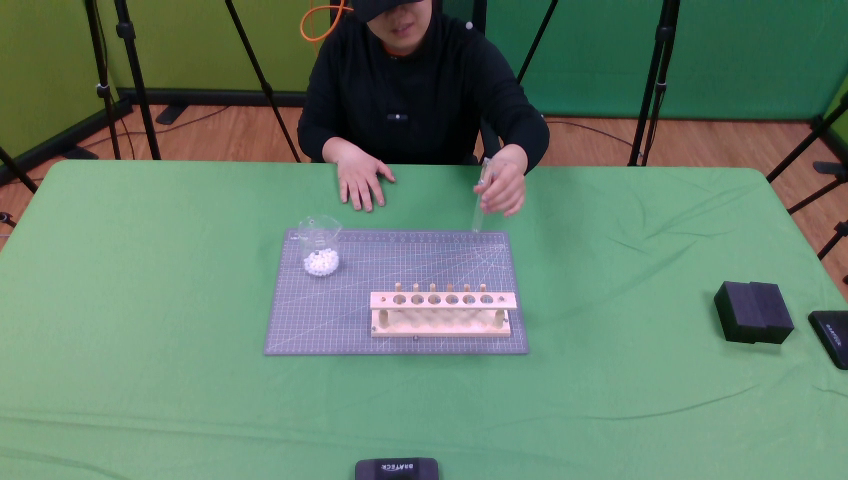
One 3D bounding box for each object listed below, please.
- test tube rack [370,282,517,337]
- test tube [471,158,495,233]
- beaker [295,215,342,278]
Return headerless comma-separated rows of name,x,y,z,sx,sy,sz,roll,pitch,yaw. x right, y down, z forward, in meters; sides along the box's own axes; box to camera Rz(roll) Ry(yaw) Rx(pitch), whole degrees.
test tube rack,0.030,0.116,1.041,0.242,0.085,0.066,1,46,-4
test tube,0.095,-0.069,0.990,0.017,0.151,0.017,4,42,-4
beaker,-0.191,0.013,1.114,0.084,0.101,0.073,-12,49,-17
